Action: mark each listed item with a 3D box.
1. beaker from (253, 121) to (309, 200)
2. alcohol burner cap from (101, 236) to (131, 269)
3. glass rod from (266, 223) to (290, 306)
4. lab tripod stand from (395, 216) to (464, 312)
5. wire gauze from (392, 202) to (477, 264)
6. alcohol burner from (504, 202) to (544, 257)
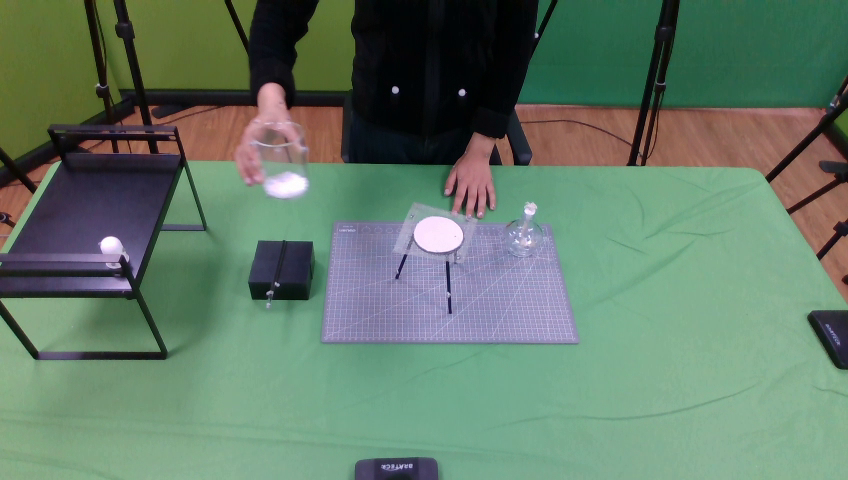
[{"bbox_3d":[-0.212,-0.118,0.910,0.074,0.101,0.083,-4,40,-7],"label":"beaker"},{"bbox_3d":[-0.452,0.016,0.883,0.034,0.048,0.033,2,47,-1],"label":"alcohol burner cap"},{"bbox_3d":[-0.260,0.039,1.083,0.008,0.008,0.198,3,46,-1],"label":"glass rod"},{"bbox_3d":[0.023,0.036,1.084,0.148,0.132,0.147,4,46,-4],"label":"lab tripod stand"},{"bbox_3d":[0.021,-0.012,1.037,0.121,0.011,0.124,14,47,8],"label":"wire gauze"},{"bbox_3d":[0.195,-0.025,1.170,0.078,0.120,0.077,2,44,-2],"label":"alcohol burner"}]
